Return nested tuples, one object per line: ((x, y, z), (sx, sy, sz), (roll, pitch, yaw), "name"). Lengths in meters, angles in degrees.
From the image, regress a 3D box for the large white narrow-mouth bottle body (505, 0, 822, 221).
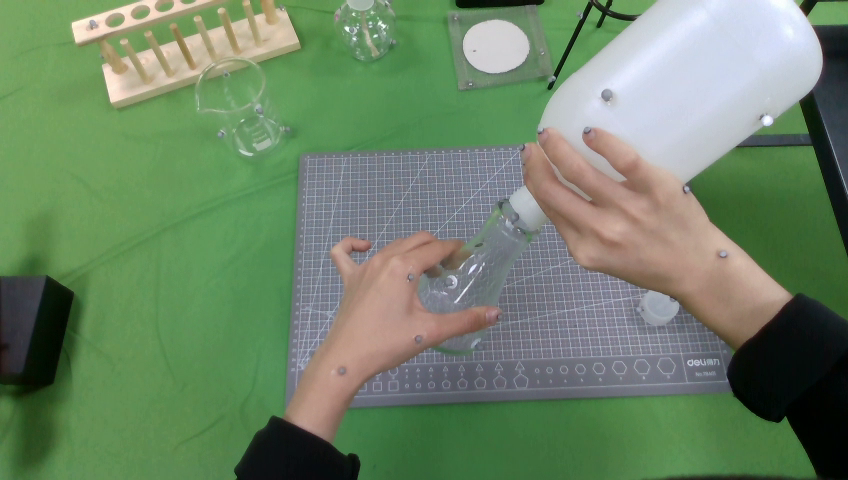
((0.136, -0.081, 0.391), (0.195, 0.102, 0.101), (-39, 67, 20), "large white narrow-mouth bottle body")

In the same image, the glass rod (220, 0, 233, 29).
((-0.243, -0.318, 0.696), (0.008, 0.201, 0.008), (2, 65, -3), "glass rod")

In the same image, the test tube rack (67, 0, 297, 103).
((-0.289, -0.257, 0.743), (0.242, 0.086, 0.066), (-21, 68, -8), "test tube rack")

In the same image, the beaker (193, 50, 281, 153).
((-0.209, -0.150, 0.688), (0.084, 0.101, 0.073), (-42, 71, -15), "beaker")

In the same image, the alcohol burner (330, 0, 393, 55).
((-0.078, -0.285, 0.736), (0.078, 0.120, 0.077), (0, 64, 1), "alcohol burner")

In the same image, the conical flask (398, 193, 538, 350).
((0.037, 0.021, 0.456), (0.076, 0.122, 0.074), (22, 36, -17), "conical flask")

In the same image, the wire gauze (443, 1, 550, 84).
((0.092, -0.259, 0.779), (0.121, 0.011, 0.124), (-6, 66, -3), "wire gauze")

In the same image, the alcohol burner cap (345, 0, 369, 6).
((-0.079, -0.301, 0.704), (0.034, 0.048, 0.033), (3, 65, -7), "alcohol burner cap")

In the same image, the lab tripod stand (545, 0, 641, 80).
((0.219, -0.250, 0.705), (0.148, 0.132, 0.147), (0, 66, -1), "lab tripod stand")

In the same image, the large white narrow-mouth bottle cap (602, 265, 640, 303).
((0.207, 0.047, 0.638), (0.038, 0.024, 0.037), (-1, 66, 3), "large white narrow-mouth bottle cap")
